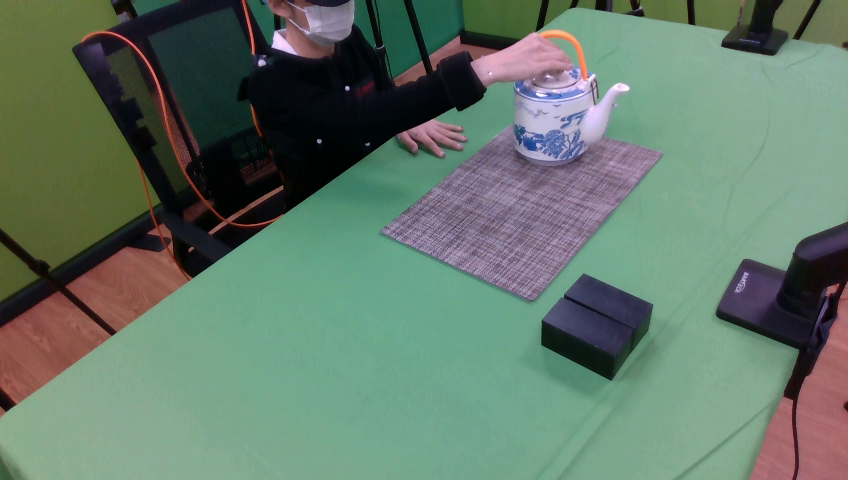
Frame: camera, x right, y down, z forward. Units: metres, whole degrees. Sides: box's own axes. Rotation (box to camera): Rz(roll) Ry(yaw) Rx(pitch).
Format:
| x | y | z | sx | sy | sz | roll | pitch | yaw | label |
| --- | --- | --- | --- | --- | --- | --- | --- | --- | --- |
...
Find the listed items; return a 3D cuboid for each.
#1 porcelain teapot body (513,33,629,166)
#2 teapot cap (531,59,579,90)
| x | y | z | sx | sy | sz | roll | pitch | yaw | label |
| --- | --- | --- | --- | --- | --- | --- | --- | --- | --- |
| 0.256 | -0.248 | 1.065 | 0.204 | 0.226 | 0.145 | 18 | 47 | 28 | porcelain teapot body |
| 0.228 | -0.291 | 1.051 | 0.085 | 0.044 | 0.085 | -4 | 40 | 4 | teapot cap |
